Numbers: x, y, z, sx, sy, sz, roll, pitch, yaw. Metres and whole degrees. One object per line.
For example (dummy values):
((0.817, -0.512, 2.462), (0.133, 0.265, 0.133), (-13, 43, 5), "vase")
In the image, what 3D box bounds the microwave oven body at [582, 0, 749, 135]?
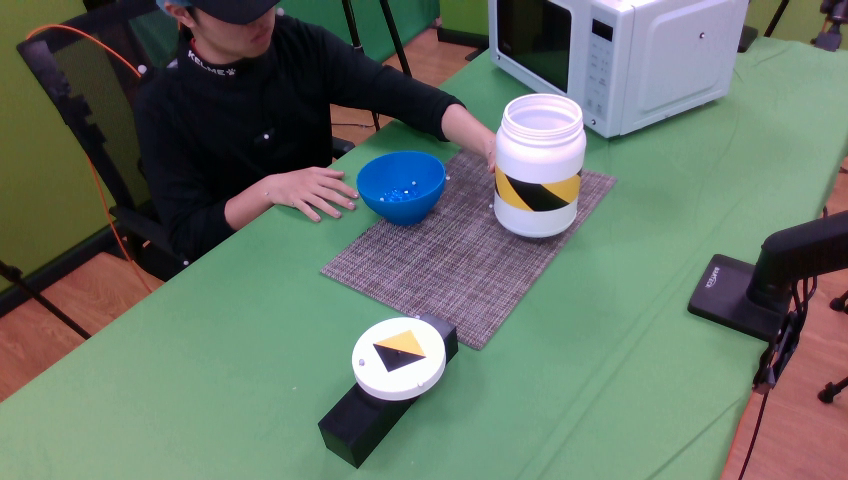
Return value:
((0.382, -0.444, 1.246), (0.327, 0.261, 0.437), (-22, 42, -16), "microwave oven body")

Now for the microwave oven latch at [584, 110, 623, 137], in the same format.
((0.337, -0.222, 1.142), (0.030, 0.029, 0.078), (-21, 42, -14), "microwave oven latch")

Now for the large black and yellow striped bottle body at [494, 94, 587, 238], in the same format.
((0.172, -0.110, 0.903), (0.131, 0.185, 0.130), (-2, 41, 2), "large black and yellow striped bottle body")

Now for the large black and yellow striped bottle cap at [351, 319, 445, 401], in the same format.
((-0.031, 0.143, 0.735), (0.115, 0.019, 0.114), (-3, 40, 3), "large black and yellow striped bottle cap")

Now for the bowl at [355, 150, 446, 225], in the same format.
((-0.035, -0.078, 1.017), (0.151, 0.077, 0.150), (-4, 40, 4), "bowl")

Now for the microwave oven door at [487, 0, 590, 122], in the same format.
((0.232, -0.420, 1.230), (0.039, 0.245, 0.352), (-22, 43, -16), "microwave oven door")
